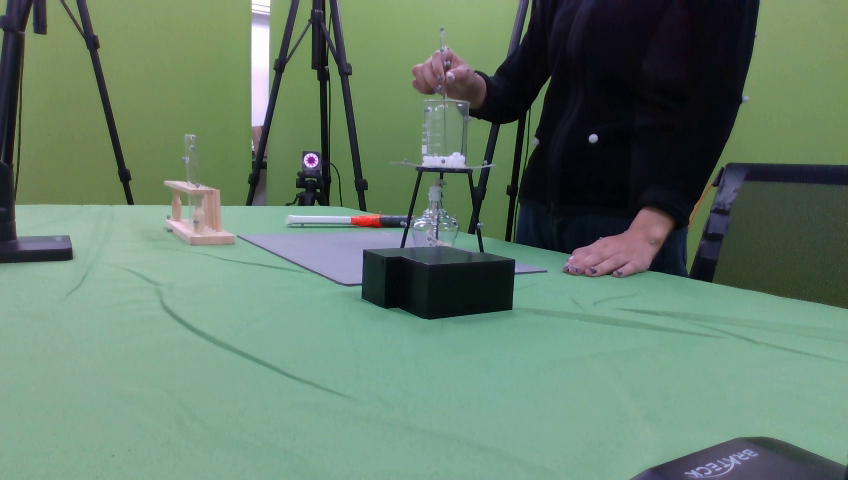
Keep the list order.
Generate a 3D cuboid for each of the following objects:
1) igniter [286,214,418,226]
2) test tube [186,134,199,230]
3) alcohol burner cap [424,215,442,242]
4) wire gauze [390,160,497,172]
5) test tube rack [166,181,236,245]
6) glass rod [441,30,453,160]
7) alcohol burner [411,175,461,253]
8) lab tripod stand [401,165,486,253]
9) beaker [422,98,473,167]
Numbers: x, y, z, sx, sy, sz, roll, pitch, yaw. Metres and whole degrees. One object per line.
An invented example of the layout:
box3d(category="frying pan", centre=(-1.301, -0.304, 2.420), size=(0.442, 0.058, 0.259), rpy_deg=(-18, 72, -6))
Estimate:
box3d(category="igniter", centre=(-0.145, -0.043, 1.263), size=(0.278, 0.025, 0.057), rpy_deg=(-1, -2, -25))
box3d(category="test tube", centre=(-0.360, -0.089, 0.946), size=(0.017, 0.150, 0.017), rpy_deg=(0, 10, 0))
box3d(category="alcohol burner cap", centre=(0.017, -0.022, 1.098), size=(0.034, 0.048, 0.034), rpy_deg=(2, 9, 0))
box3d(category="wire gauze", centre=(0.028, -0.114, 0.920), size=(0.122, 0.011, 0.124), rpy_deg=(-5, 13, -34))
box3d(category="test tube rack", centre=(-0.383, -0.051, 1.024), size=(0.067, 0.085, 0.241), rpy_deg=(-2, 9, -31))
box3d(category="glass rod", centre=(0.035, -0.223, 0.930), size=(0.008, 0.199, 0.008), rpy_deg=(-4, 2, 0))
box3d(category="alcohol burner", centre=(0.018, -0.040, 0.931), size=(0.078, 0.119, 0.078), rpy_deg=(0, 7, 0))
box3d(category="lab tripod stand", centre=(0.028, -0.049, 0.930), size=(0.148, 0.131, 0.148), rpy_deg=(2, 9, 0))
box3d(category="beaker", centre=(0.031, -0.162, 0.919), size=(0.074, 0.100, 0.083), rpy_deg=(-4, 9, -36))
